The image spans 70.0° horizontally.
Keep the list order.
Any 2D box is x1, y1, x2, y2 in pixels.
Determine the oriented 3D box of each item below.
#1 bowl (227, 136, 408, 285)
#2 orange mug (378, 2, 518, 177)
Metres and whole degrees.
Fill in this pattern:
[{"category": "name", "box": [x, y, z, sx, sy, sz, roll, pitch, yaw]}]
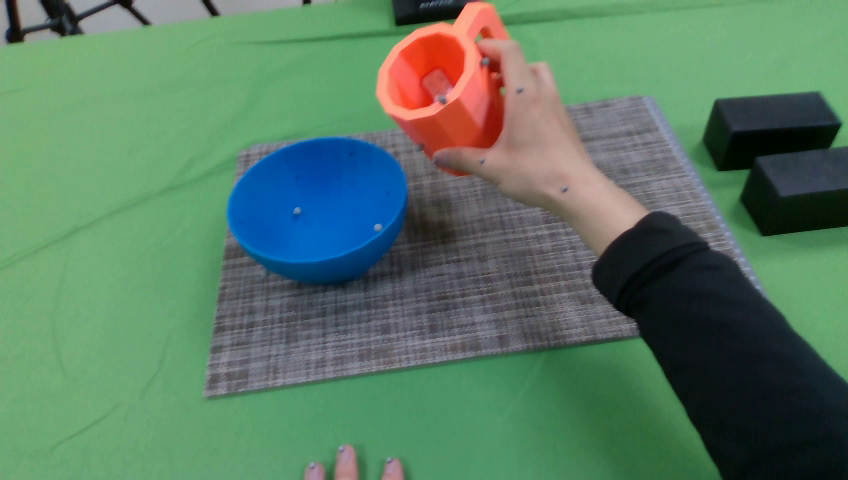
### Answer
[{"category": "bowl", "box": [-0.084, -0.013, 0.529, 0.151, 0.077, 0.150, -3, 48, 4]}, {"category": "orange mug", "box": [0.031, -0.128, 0.504, 0.082, 0.102, 0.126, 27, 88, 35]}]
